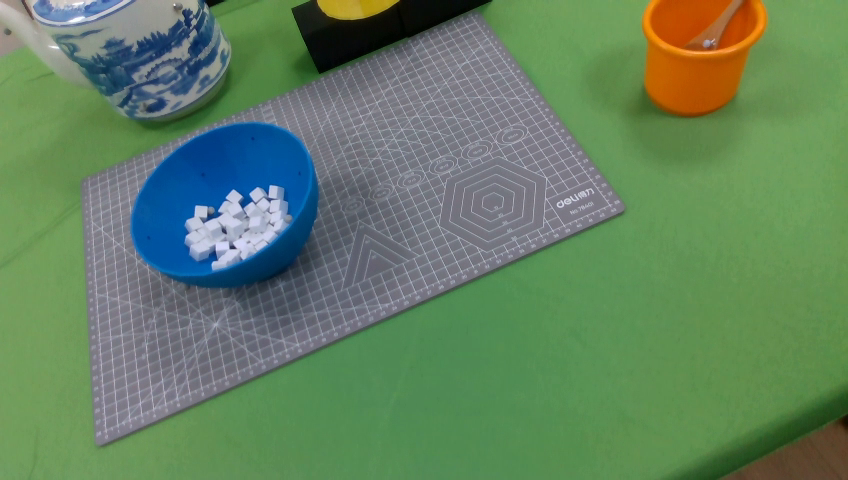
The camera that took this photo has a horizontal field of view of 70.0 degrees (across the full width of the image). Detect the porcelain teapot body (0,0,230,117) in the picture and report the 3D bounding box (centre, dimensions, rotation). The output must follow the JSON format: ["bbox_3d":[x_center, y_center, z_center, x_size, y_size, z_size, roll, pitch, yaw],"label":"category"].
[{"bbox_3d":[-0.328,-0.228,0.591,0.205,0.227,0.143,-20,56,2],"label":"porcelain teapot body"}]

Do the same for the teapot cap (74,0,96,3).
[{"bbox_3d":[-0.309,-0.257,0.557,0.085,0.044,0.084,-7,59,12],"label":"teapot cap"}]

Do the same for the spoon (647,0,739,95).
[{"bbox_3d":[0.251,-0.195,0.476,0.022,0.194,0.041,1,47,-40],"label":"spoon"}]

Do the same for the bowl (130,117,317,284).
[{"bbox_3d":[-0.151,-0.020,0.501,0.151,0.077,0.150,-6,57,10],"label":"bowl"}]

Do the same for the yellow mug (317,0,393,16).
[{"bbox_3d":[-0.057,-0.277,0.591,0.130,0.064,0.099,17,64,22],"label":"yellow mug"}]
